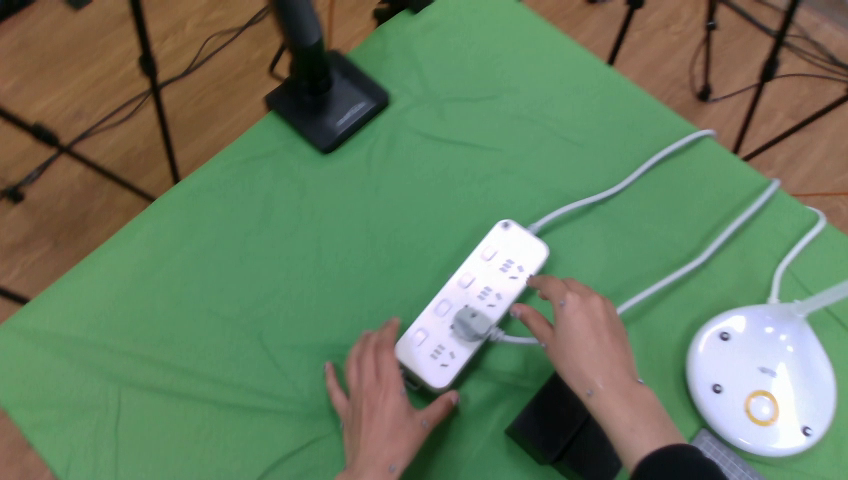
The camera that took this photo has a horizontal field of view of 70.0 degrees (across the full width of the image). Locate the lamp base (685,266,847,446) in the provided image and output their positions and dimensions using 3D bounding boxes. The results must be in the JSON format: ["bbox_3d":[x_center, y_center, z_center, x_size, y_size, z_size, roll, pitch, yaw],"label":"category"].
[{"bbox_3d":[0.367,0.098,0.591,0.160,0.181,0.178,14,65,4],"label":"lamp base"}]

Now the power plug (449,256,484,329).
[{"bbox_3d":[0.050,0.061,0.651,0.035,0.053,0.072,26,64,-10],"label":"power plug"}]

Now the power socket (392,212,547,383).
[{"bbox_3d":[0.053,0.061,0.675,0.072,0.033,0.226,38,70,12],"label":"power socket"}]
